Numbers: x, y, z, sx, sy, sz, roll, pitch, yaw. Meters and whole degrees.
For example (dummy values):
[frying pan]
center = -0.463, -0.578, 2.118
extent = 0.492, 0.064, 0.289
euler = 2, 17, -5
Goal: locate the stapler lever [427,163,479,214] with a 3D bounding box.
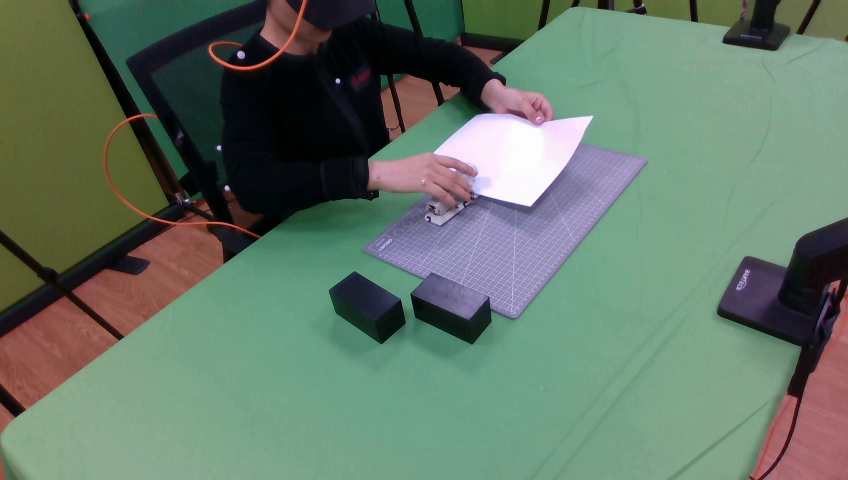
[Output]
[stapler lever]
center = 0.050, -0.091, 1.034
extent = 0.026, 0.040, 0.118
euler = 23, 51, 39

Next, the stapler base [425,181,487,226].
[stapler base]
center = 0.056, -0.073, 1.051
extent = 0.041, 0.024, 0.131
euler = 23, 51, 39
